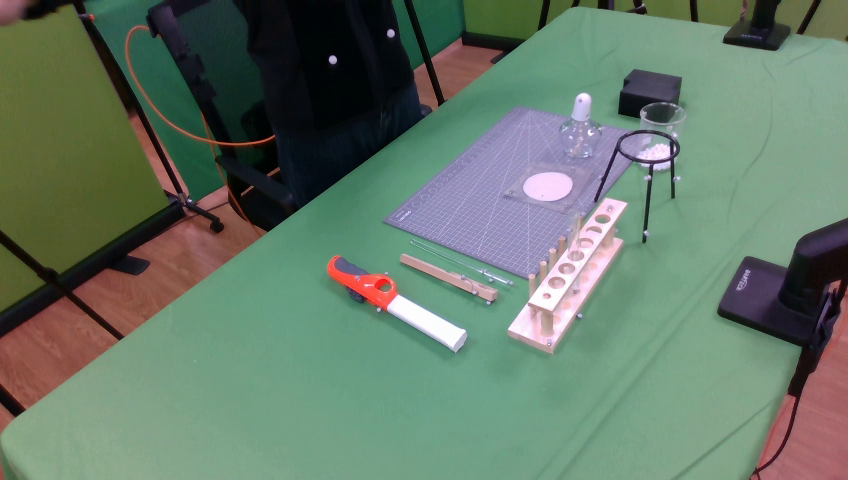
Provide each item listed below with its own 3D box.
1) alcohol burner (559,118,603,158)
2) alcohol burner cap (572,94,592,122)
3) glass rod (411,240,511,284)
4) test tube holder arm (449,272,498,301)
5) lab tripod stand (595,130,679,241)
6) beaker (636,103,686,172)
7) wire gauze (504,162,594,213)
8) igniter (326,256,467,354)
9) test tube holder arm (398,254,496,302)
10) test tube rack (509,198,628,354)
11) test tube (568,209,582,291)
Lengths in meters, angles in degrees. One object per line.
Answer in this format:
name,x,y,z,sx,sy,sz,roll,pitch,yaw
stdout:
alcohol burner,0.287,-0.212,1.104,0.078,0.119,0.077,-4,40,4
alcohol burner cap,0.284,-0.238,1.079,0.034,0.048,0.033,-1,48,2
glass rod,0.053,0.033,0.946,0.198,0.008,0.008,22,50,36
test tube holder arm,0.070,0.068,0.894,0.087,0.015,0.010,21,13,32
lab tripod stand,0.342,-0.095,0.943,0.148,0.132,0.147,-4,39,4
beaker,0.413,-0.177,1.055,0.084,0.101,0.073,-28,44,-21
wire gauze,0.220,-0.098,1.065,0.124,0.011,0.122,17,47,32
igniter,-0.051,0.088,0.886,0.274,0.025,0.057,26,61,35
test tube holder arm,0.031,0.054,0.913,0.177,0.015,0.013,21,13,31
test tube rack,0.206,0.039,0.850,0.066,0.085,0.243,20,48,31
test tube,0.200,0.017,0.799,0.017,0.151,0.017,-8,45,8
